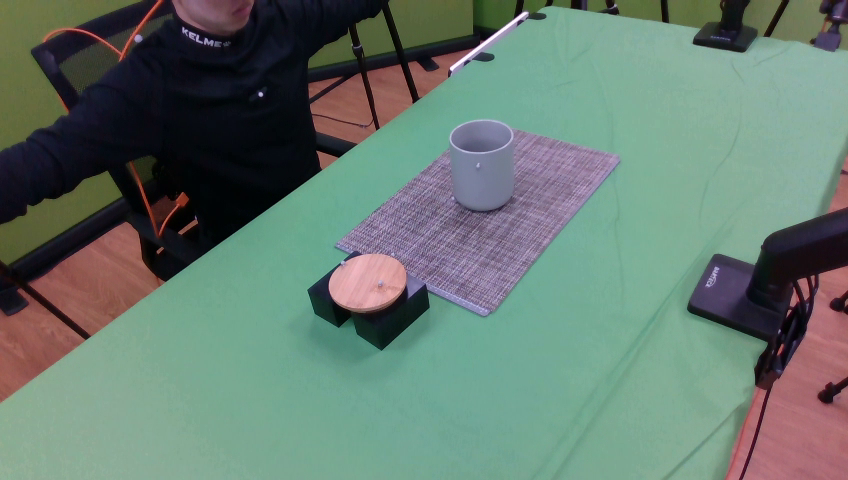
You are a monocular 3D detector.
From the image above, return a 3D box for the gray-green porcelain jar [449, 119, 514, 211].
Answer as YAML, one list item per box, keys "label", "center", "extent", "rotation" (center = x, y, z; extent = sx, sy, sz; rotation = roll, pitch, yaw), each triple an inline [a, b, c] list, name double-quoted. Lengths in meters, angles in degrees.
- label: "gray-green porcelain jar"
  center: [0.098, -0.120, 1.008]
  extent: [0.106, 0.127, 0.105]
  rotation: [-4, 41, 4]

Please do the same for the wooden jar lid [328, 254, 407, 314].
- label: "wooden jar lid"
  center: [-0.077, 0.062, 0.832]
  extent: [0.108, 0.021, 0.108]
  rotation: [-4, 39, 4]
